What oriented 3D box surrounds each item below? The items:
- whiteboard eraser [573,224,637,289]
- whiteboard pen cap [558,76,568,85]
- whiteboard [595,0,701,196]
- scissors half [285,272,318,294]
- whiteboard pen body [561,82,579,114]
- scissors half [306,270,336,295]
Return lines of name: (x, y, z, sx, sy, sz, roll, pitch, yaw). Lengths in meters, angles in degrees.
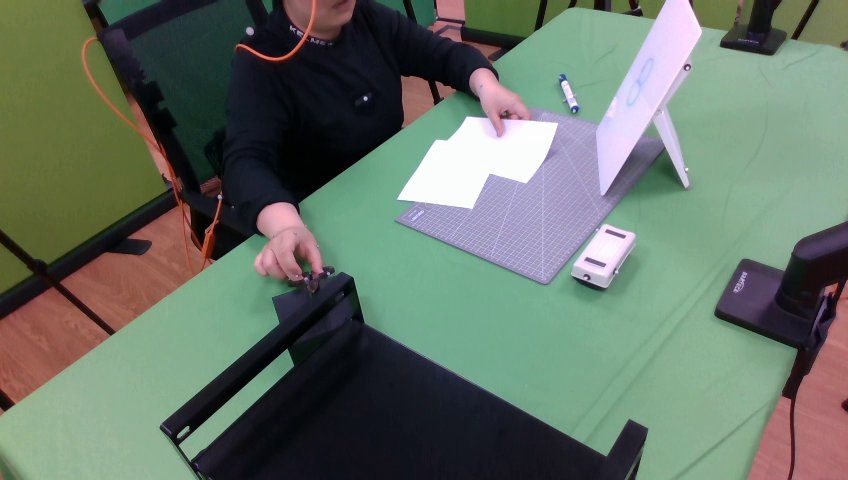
whiteboard eraser: (0.267, 0.025, 0.891, 0.055, 0.042, 0.113, 19, 47, 31)
whiteboard pen cap: (0.309, -0.350, 1.340, 0.018, 0.018, 0.033, -7, 41, 1)
whiteboard: (0.421, -0.227, 1.010, 0.144, 0.305, 0.216, 18, 42, -2)
scissors half: (-0.171, 0.064, 0.866, 0.040, 0.013, 0.174, -13, 8, -19)
whiteboard pen body: (0.310, -0.311, 1.298, 0.017, 0.017, 0.140, -6, 41, 2)
scissors half: (-0.151, 0.061, 0.869, 0.040, 0.013, 0.175, -5, 7, -2)
